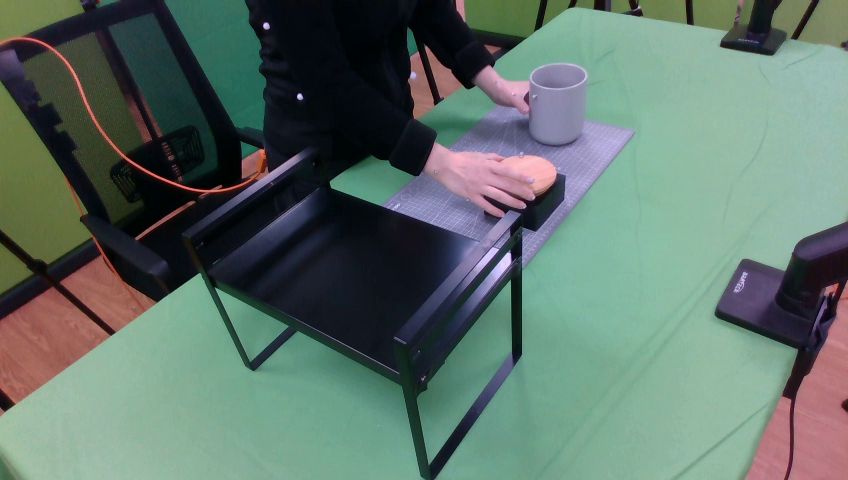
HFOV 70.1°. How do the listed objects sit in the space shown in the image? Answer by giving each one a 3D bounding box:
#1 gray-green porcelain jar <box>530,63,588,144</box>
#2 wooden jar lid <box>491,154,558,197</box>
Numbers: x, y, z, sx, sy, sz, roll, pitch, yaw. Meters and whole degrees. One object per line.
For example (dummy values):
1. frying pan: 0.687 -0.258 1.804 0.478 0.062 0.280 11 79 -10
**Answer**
1. gray-green porcelain jar: 0.255 -0.255 1.151 0.106 0.127 0.105 -4 41 4
2. wooden jar lid: 0.165 -0.104 0.994 0.108 0.021 0.108 -4 39 3
